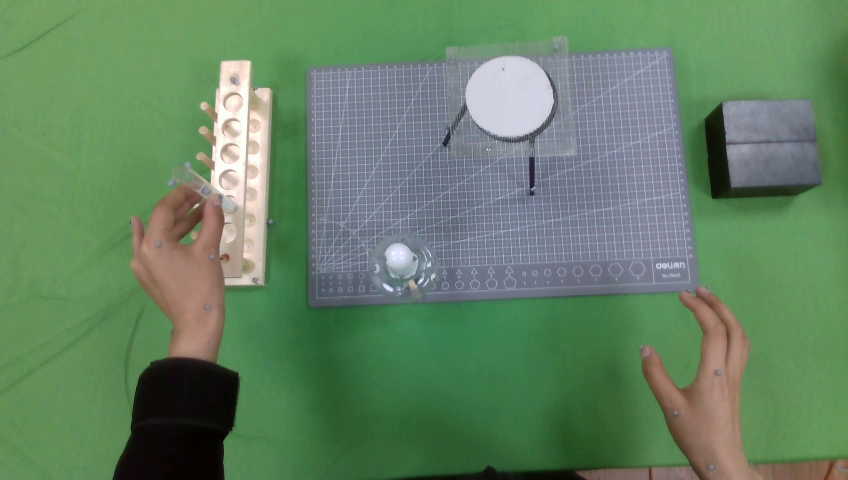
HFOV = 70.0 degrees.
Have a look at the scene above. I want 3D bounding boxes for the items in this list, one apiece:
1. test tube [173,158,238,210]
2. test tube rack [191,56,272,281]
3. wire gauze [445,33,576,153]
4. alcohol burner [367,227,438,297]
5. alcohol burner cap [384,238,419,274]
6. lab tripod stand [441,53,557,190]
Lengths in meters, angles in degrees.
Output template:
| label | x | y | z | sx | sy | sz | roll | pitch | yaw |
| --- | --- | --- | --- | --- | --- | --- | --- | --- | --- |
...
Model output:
| label | x | y | z | sx | sy | sz | roll | pitch | yaw |
| --- | --- | --- | --- | --- | --- | --- | --- | --- | --- |
| test tube | -0.207 | -0.050 | 0.591 | 0.017 | 0.150 | 0.017 | 0 | 80 | 1 |
| test tube rack | -0.223 | -0.078 | 0.693 | 0.067 | 0.085 | 0.241 | 0 | 81 | 2 |
| wire gauze | 0.085 | -0.144 | 0.598 | 0.125 | 0.011 | 0.121 | -2 | 81 | 2 |
| alcohol burner | -0.024 | 0.021 | 0.653 | 0.078 | 0.119 | 0.077 | 0 | 80 | 1 |
| alcohol burner cap | -0.025 | 0.015 | 0.617 | 0.034 | 0.048 | 0.033 | -2 | 77 | 7 |
| lab tripod stand | 0.091 | -0.137 | 0.664 | 0.148 | 0.132 | 0.147 | -1 | 79 | 3 |
